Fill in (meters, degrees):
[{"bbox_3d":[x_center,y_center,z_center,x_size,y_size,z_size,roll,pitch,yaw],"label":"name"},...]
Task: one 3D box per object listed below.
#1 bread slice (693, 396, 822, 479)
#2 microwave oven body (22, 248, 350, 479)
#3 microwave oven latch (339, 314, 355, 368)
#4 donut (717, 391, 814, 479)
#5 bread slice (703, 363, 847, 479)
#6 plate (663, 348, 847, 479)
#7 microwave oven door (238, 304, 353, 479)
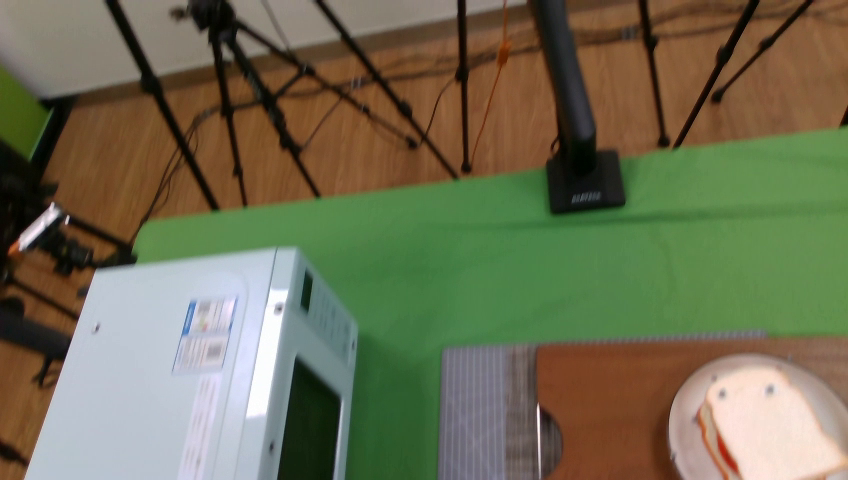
[{"bbox_3d":[0.386,0.233,0.720,0.105,0.019,0.130,-20,58,2],"label":"bread slice"},{"bbox_3d":[-0.293,0.272,0.788,0.325,0.263,0.437,-7,58,12],"label":"microwave oven body"},{"bbox_3d":[-0.123,0.156,0.930,0.030,0.030,0.078,-6,58,12],"label":"microwave oven latch"},{"bbox_3d":[0.385,0.222,0.687,0.099,0.048,0.098,-4,62,8],"label":"donut"},{"bbox_3d":[0.374,0.201,0.668,0.107,0.018,0.133,-23,49,2],"label":"bread slice"},{"bbox_3d":[0.392,0.231,0.715,0.207,0.039,0.205,-8,57,12],"label":"plate"},{"bbox_3d":[-0.153,0.287,0.731,0.039,0.246,0.352,-7,57,12],"label":"microwave oven door"}]
